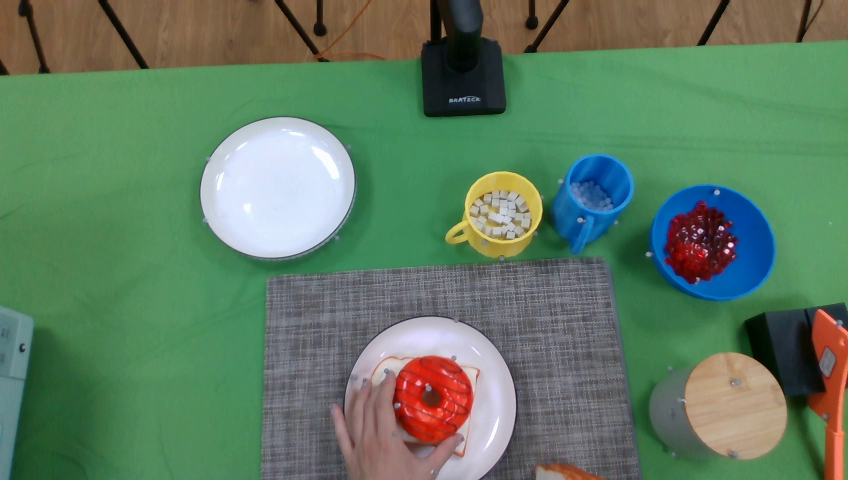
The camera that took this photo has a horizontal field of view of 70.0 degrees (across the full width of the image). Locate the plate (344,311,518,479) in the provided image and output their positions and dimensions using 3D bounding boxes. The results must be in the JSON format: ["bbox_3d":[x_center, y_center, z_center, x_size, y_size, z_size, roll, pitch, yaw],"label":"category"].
[{"bbox_3d":[0.009,0.190,0.733,0.209,0.038,0.208,0,72,0],"label":"plate"}]

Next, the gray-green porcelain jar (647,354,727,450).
[{"bbox_3d":[0.321,0.185,0.691,0.106,0.127,0.105,0,72,0],"label":"gray-green porcelain jar"}]

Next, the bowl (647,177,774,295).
[{"bbox_3d":[0.352,0.004,0.775,0.151,0.077,0.150,0,72,1],"label":"bowl"}]

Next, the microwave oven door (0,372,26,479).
[{"bbox_3d":[-0.497,0.297,0.577,0.039,0.245,0.353,-3,72,0],"label":"microwave oven door"}]

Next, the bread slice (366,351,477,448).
[{"bbox_3d":[-0.005,0.189,0.737,0.131,0.019,0.104,10,71,-1],"label":"bread slice"}]

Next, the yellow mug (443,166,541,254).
[{"bbox_3d":[0.085,-0.032,0.794,0.131,0.064,0.099,-24,73,-6],"label":"yellow mug"}]

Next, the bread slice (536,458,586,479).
[{"bbox_3d":[0.147,0.291,0.654,0.018,0.135,0.106,5,70,-6],"label":"bread slice"}]

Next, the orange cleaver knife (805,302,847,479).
[{"bbox_3d":[0.475,0.180,0.715,0.012,0.077,0.212,-6,102,-1],"label":"orange cleaver knife"}]

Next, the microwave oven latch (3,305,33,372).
[{"bbox_3d":[-0.503,0.121,0.740,0.030,0.029,0.078,0,73,0],"label":"microwave oven latch"}]

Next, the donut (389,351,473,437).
[{"bbox_3d":[0.008,0.179,0.708,0.099,0.048,0.098,1,76,-5],"label":"donut"}]

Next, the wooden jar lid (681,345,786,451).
[{"bbox_3d":[0.320,0.165,0.632,0.108,0.021,0.107,1,73,-2],"label":"wooden jar lid"}]

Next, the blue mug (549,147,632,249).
[{"bbox_3d":[0.206,-0.044,0.777,0.082,0.106,0.116,16,73,6],"label":"blue mug"}]

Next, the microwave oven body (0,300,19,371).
[{"bbox_3d":[-0.645,0.264,0.593,0.326,0.261,0.439,-2,73,-1],"label":"microwave oven body"}]

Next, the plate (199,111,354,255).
[{"bbox_3d":[-0.196,-0.076,0.823,0.208,0.039,0.206,0,72,0],"label":"plate"}]
